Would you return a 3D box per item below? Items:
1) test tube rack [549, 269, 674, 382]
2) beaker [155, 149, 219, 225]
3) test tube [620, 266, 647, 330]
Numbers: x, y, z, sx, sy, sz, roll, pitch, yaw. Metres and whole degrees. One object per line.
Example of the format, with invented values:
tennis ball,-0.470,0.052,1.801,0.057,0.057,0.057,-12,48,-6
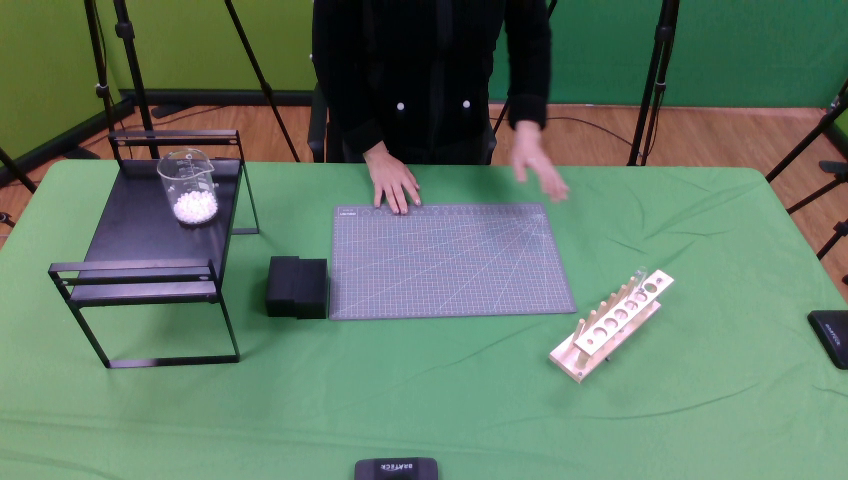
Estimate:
test tube rack,0.325,0.134,1.047,0.242,0.085,0.066,-32,56,-30
beaker,-0.362,-0.080,0.945,0.084,0.101,0.073,4,46,-1
test tube,0.347,0.100,1.013,0.017,0.151,0.017,1,43,0
